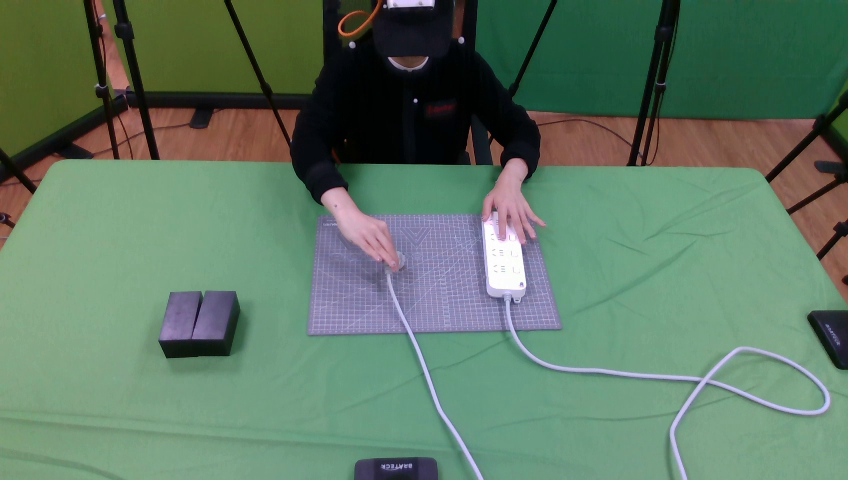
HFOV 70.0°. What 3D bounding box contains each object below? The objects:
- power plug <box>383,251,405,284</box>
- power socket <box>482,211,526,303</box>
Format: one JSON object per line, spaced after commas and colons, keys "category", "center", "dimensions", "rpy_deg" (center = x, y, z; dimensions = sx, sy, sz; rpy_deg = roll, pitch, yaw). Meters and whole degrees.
{"category": "power plug", "center": [-0.060, 0.054, 1.127], "dimensions": [0.035, 0.053, 0.072], "rpy_deg": [11, 70, 33]}
{"category": "power socket", "center": [0.153, 0.025, 1.174], "dimensions": [0.072, 0.033, 0.225], "rpy_deg": [2, 46, 0]}
